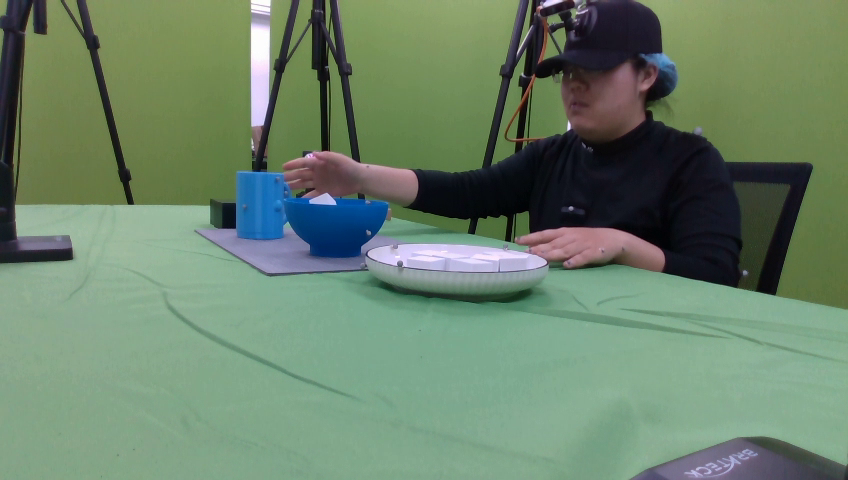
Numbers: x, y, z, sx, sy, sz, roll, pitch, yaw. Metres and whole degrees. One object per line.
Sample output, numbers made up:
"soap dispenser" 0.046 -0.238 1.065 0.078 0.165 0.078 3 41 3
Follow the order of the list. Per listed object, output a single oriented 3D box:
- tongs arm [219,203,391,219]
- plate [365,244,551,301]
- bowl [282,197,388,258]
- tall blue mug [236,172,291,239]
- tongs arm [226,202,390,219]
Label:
"tongs arm" -0.258 -0.064 1.368 0.386 0.026 0.050 1 3 -17
"plate" 0.038 0.035 0.685 0.209 0.038 0.209 2 7 0
"bowl" -0.127 -0.018 0.868 0.151 0.077 0.151 2 7 0
"tall blue mug" -0.273 -0.061 1.026 0.078 0.108 0.107 2 7 -1
"tongs arm" -0.275 -0.071 1.446 0.388 0.027 0.028 2 -1 -4
